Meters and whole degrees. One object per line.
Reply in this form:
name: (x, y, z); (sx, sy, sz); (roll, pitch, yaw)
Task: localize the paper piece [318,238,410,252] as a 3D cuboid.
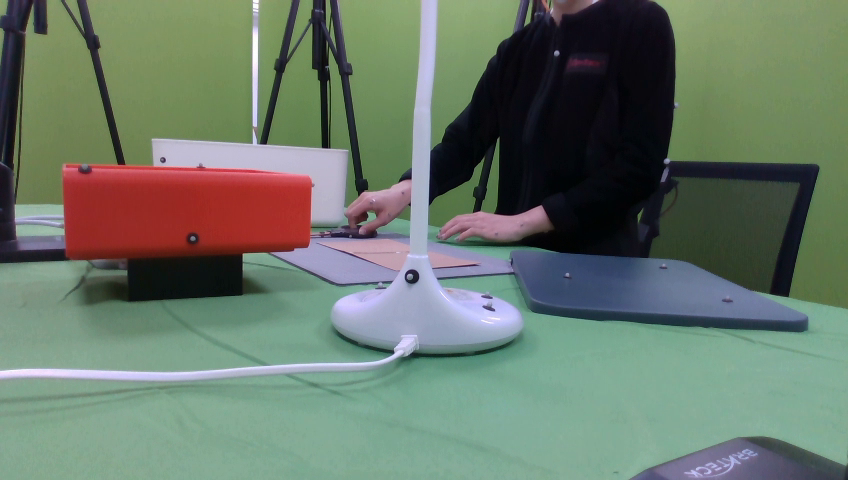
paper piece: (-0.083, 0.008, 0.952); (0.136, 0.004, 0.134); (-2, 8, -32)

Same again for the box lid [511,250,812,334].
box lid: (0.246, 0.051, 0.733); (0.263, 0.015, 0.371); (4, 7, 4)

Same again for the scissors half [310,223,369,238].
scissors half: (-0.172, -0.013, 1.062); (0.176, 0.013, 0.040); (-10, 25, -42)

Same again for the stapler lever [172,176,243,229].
stapler lever: (-0.217, -0.041, 0.618); (0.027, 0.040, 0.118); (19, 11, -2)

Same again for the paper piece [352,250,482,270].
paper piece: (-0.013, 0.026, 0.842); (0.139, 0.008, 0.135); (0, 11, -32)

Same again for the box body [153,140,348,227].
box body: (-0.357, -0.119, 1.264); (0.365, 0.160, 0.253); (0, 7, -18)

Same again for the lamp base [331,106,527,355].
lamp base: (0.006, -0.012, 0.478); (0.161, 0.180, 0.179); (2, 10, 2)

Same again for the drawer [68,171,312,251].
drawer: (-0.247, -0.036, 0.629); (0.213, 0.073, 0.193); (-3, 9, -30)

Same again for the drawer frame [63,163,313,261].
drawer frame: (-0.248, -0.036, 0.626); (0.215, 0.082, 0.200); (-3, 9, -31)

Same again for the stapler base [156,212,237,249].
stapler base: (-0.227, -0.017, 0.624); (0.041, 0.024, 0.130); (19, 10, -2)

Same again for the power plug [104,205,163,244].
power plug: (-0.390, -0.021, 0.815); (0.073, 0.052, 0.035); (-1, 8, -28)

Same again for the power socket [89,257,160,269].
power socket: (-0.409, 0.004, 0.793); (0.072, 0.032, 0.225); (-2, 8, -38)

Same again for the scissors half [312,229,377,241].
scissors half: (-0.161, -0.005, 1.047); (0.176, 0.013, 0.040); (-2, 25, -27)
